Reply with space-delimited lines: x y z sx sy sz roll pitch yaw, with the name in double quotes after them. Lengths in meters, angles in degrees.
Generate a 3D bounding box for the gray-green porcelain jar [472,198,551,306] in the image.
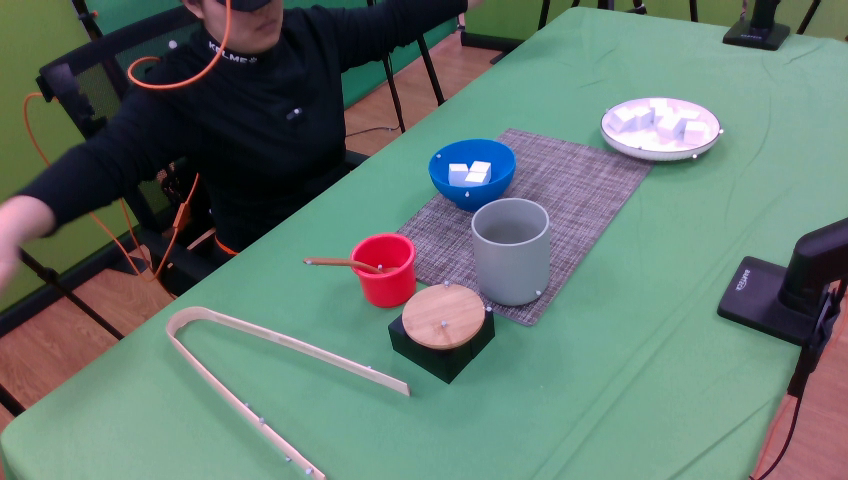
0.125 0.021 0.850 0.106 0.127 0.105 -6 40 5 "gray-green porcelain jar"

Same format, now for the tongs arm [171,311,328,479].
-0.236 0.192 0.794 0.381 0.026 0.051 24 50 35 "tongs arm"

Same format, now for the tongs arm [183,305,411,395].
-0.187 0.148 0.842 0.385 0.028 0.028 14 48 26 "tongs arm"

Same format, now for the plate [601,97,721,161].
0.436 -0.202 1.126 0.209 0.038 0.208 -5 39 5 "plate"

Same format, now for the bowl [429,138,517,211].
0.087 -0.104 1.043 0.151 0.077 0.150 -5 40 5 "bowl"

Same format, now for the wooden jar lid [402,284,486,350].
0.026 0.101 0.786 0.108 0.021 0.108 -5 39 4 "wooden jar lid"

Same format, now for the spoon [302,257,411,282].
-0.092 0.038 0.865 0.195 0.021 0.041 16 15 -46 "spoon"
